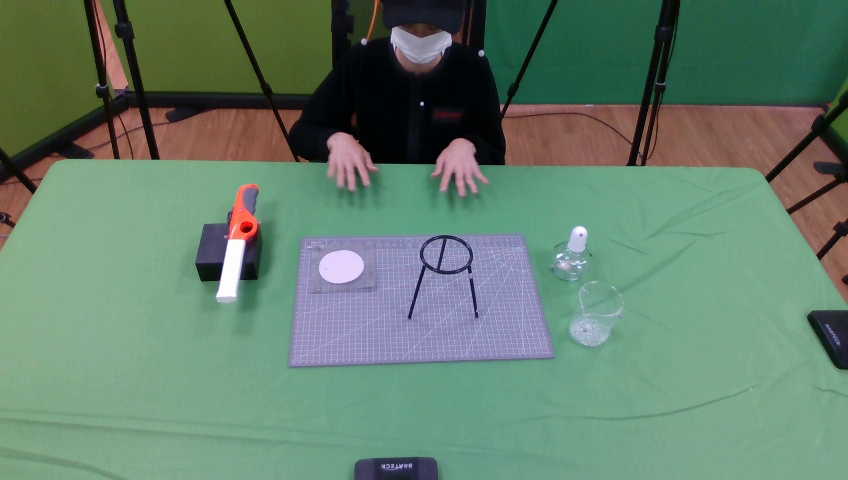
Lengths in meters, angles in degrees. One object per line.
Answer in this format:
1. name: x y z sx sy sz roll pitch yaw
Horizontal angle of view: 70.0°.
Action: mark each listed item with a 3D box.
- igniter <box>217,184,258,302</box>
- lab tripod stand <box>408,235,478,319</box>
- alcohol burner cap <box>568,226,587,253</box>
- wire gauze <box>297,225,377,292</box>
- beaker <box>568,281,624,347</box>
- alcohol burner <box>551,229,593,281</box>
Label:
1. igniter: -0.339 -0.004 1.106 0.057 0.025 0.274 1 49 -6
2. lab tripod stand: 0.032 0.065 1.057 0.148 0.132 0.147 1 45 -1
3. alcohol burner cap: 0.284 -0.003 1.112 0.034 0.048 0.033 1 41 -1
4. wire gauze: -0.165 0.034 1.137 0.125 0.011 0.120 -21 53 -15
5. beaker: 0.290 0.132 1.041 0.084 0.101 0.073 -34 57 -30
6. alcohol burner: 0.281 0.021 1.137 0.078 0.120 0.077 1 48 -1
